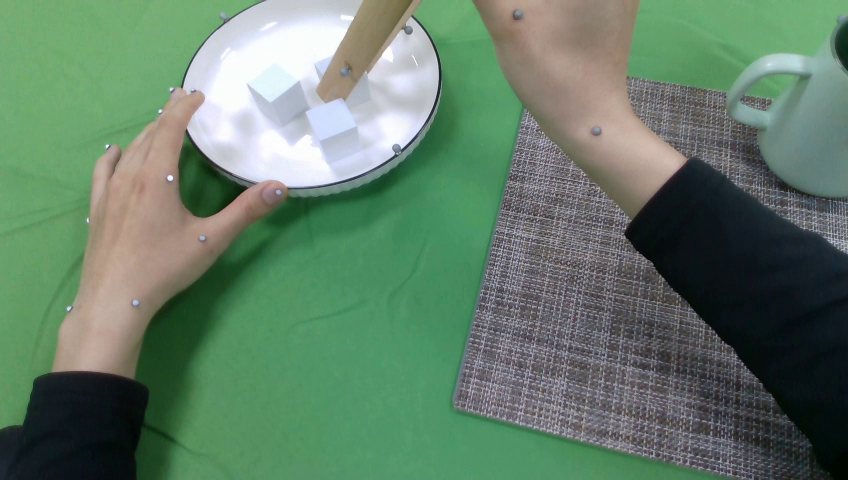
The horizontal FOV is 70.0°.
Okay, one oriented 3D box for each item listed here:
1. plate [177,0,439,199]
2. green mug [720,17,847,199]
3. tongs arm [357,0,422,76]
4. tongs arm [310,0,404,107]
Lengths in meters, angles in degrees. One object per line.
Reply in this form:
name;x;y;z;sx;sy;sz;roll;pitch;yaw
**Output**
plate;-0.091;-0.118;0.494;0.209;0.038;0.207;-1;63;2
green mug;0.274;-0.091;0.419;0.125;0.106;0.092;11;64;8
tongs arm;0.014;-0.176;0.327;0.026;0.384;0.050;44;61;-10
tongs arm;-0.001;-0.156;0.316;0.028;0.387;0.028;47;63;-8
